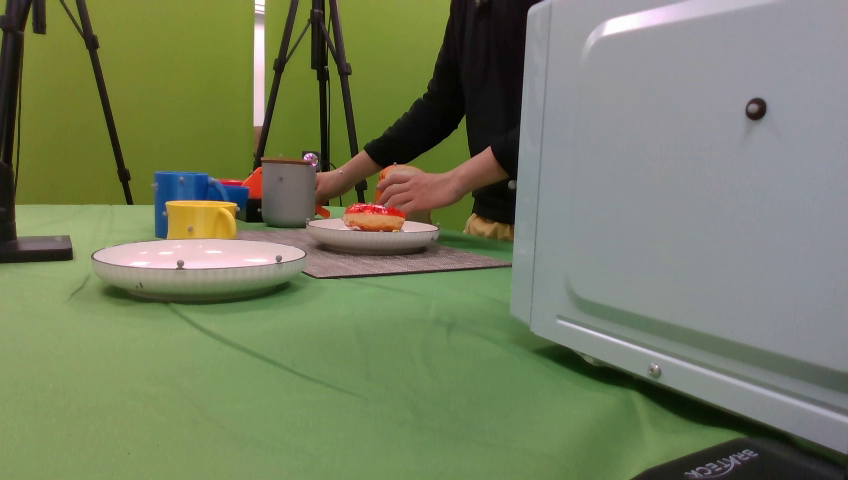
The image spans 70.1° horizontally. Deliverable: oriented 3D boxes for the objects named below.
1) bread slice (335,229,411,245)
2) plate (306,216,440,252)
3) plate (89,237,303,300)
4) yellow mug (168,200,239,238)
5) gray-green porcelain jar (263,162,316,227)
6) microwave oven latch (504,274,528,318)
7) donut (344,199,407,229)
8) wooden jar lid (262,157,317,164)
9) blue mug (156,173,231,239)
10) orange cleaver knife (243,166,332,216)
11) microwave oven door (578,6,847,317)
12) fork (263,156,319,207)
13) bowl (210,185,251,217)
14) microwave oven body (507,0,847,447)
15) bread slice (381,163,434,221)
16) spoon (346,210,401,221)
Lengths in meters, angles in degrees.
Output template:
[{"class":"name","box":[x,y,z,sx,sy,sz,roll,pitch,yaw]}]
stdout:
[{"class":"bread slice","box":[-0.074,-0.005,0.938,0.105,0.019,0.131,-1,4,-19]},{"class":"plate","box":[-0.079,-0.011,0.950,0.209,0.038,0.209,2,8,0]},{"class":"plate","box":[-0.233,0.029,0.637,0.208,0.039,0.207,2,7,0]},{"class":"yellow mug","box":[-0.319,-0.023,0.904,0.130,0.064,0.100,9,11,36]},{"class":"gray-green porcelain jar","box":[-0.271,-0.092,1.217,0.106,0.126,0.106,2,7,0]},{"class":"microwave oven latch","box":[0.100,0.041,0.471,0.079,0.029,0.030,-1,8,-28]},{"class":"donut","box":[-0.076,-0.039,0.949,0.099,0.048,0.099,3,4,0]},{"class":"wooden jar lid","box":[-0.269,-0.154,1.208,0.108,0.020,0.108,3,4,0]},{"class":"blue mug","box":[-0.381,-0.057,1.004,0.117,0.106,0.082,0,8,-12]},{"class":"orange cleaver knife","box":[-0.301,-0.090,1.351,0.212,0.077,0.012,30,-9,-33]},{"class":"microwave oven door","box":[0.294,-0.067,0.570,0.358,0.243,0.039,-3,9,-31]},{"class":"fork","box":[-0.331,-0.144,1.505,0.207,0.018,0.028,-42,-20,22]},{"class":"bowl","box":[-0.408,-0.064,1.155,0.151,0.077,0.151,2,8,0]},{"class":"microwave oven body","box":[0.331,-0.042,0.425,0.444,0.260,0.324,-2,8,-31]},{"class":"bread slice","box":[-0.033,-0.076,1.121,0.107,0.134,0.018,-3,-1,-27]},{"class":"spoon","box":[-0.121,-0.060,1.400,0.042,0.021,0.192,-27,25,-37]}]
